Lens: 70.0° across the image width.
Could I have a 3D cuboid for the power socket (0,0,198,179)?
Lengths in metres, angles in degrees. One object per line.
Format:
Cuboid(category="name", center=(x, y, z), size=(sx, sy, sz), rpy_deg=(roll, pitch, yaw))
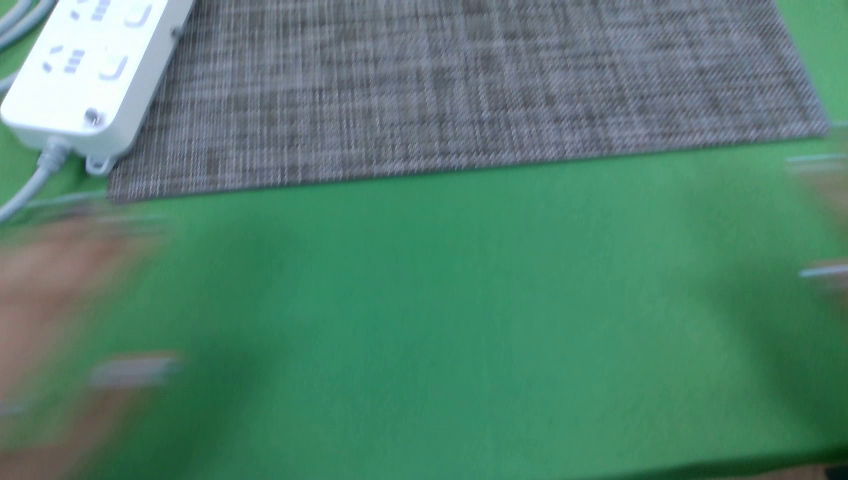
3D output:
Cuboid(category="power socket", center=(-0.199, -0.147, 0.401), size=(0.072, 0.033, 0.225), rpy_deg=(8, 65, 4))
